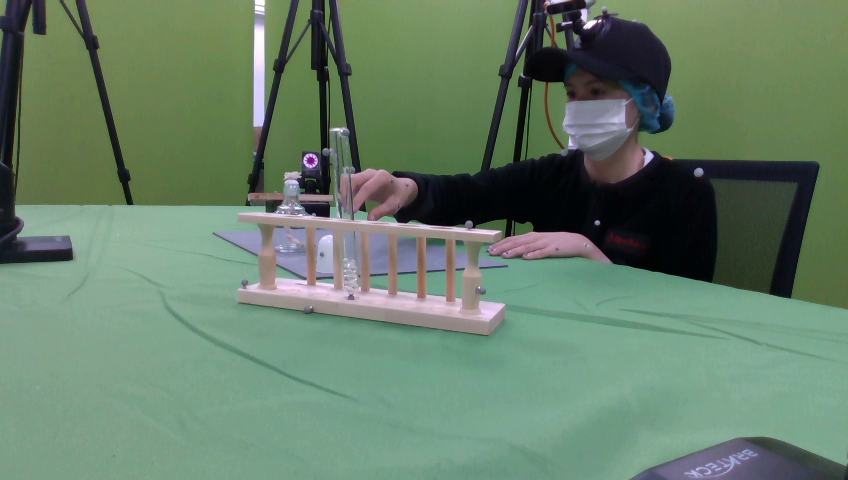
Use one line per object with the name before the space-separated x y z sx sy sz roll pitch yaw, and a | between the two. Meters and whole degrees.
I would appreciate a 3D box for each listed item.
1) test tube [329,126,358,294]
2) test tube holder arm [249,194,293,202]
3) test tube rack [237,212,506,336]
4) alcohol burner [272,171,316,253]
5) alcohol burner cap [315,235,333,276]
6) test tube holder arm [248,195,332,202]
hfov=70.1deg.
test tube | -0.071 -0.025 0.534 0.017 0.150 0.017 -3 10 1
test tube holder arm | -0.302 -0.084 1.197 0.088 0.015 0.010 -2 1 -37
test tube rack | -0.049 0.024 0.552 0.242 0.085 0.067 5 8 18
alcohol burner | -0.196 -0.041 0.884 0.078 0.119 0.078 3 5 0
alcohol burner cap | -0.116 0.018 0.728 0.034 0.048 0.034 3 7 0
test tube holder arm | -0.269 -0.085 1.228 0.179 0.015 0.013 -2 1 -37
